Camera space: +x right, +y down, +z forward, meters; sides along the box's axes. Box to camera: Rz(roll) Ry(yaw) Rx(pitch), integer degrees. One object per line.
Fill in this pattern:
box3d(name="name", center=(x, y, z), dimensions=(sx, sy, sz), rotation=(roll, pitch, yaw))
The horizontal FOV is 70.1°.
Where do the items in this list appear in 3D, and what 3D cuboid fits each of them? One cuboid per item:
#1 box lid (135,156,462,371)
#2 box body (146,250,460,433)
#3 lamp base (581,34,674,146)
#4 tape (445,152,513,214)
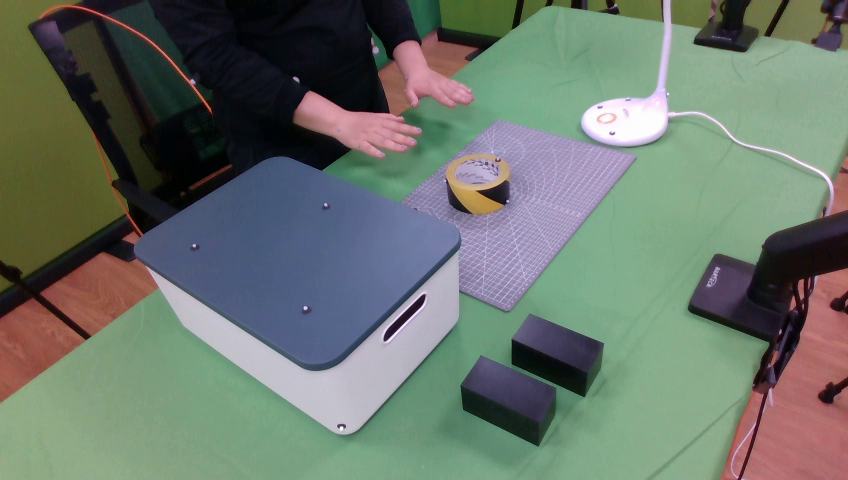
box3d(name="box lid", center=(-0.162, 0.004, 0.765), dimensions=(0.368, 0.015, 0.264), rotation=(23, 49, 31))
box3d(name="box body", center=(-0.156, 0.058, 0.814), dimensions=(0.361, 0.161, 0.255), rotation=(24, 49, 31))
box3d(name="lamp base", center=(0.392, -0.291, 1.129), dimensions=(0.180, 0.181, 0.159), rotation=(-11, 41, -8))
box3d(name="tape", center=(0.095, -0.099, 1.042), dimensions=(0.117, 0.053, 0.116), rotation=(-4, 41, 4))
